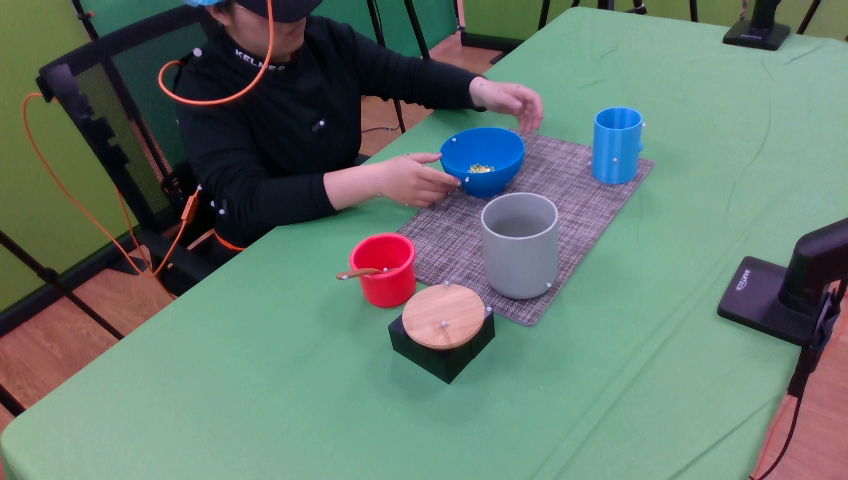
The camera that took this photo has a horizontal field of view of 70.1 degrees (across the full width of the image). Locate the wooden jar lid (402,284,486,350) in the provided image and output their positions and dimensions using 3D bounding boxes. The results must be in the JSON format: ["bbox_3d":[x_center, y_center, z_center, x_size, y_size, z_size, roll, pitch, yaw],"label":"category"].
[{"bbox_3d":[0.026,0.101,0.786,0.108,0.021,0.108,-5,39,4],"label":"wooden jar lid"}]

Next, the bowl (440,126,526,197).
[{"bbox_3d":[0.106,-0.130,1.070,0.151,0.077,0.150,-6,40,5],"label":"bowl"}]

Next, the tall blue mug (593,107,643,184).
[{"bbox_3d":[0.330,-0.172,1.052,0.078,0.108,0.106,-12,40,0],"label":"tall blue mug"}]

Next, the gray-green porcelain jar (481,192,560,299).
[{"bbox_3d":[0.138,0.012,0.858,0.106,0.127,0.105,-6,40,5],"label":"gray-green porcelain jar"}]

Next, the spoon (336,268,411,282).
[{"bbox_3d":[-0.071,0.047,0.850,0.041,0.195,0.021,19,93,24],"label":"spoon"}]
